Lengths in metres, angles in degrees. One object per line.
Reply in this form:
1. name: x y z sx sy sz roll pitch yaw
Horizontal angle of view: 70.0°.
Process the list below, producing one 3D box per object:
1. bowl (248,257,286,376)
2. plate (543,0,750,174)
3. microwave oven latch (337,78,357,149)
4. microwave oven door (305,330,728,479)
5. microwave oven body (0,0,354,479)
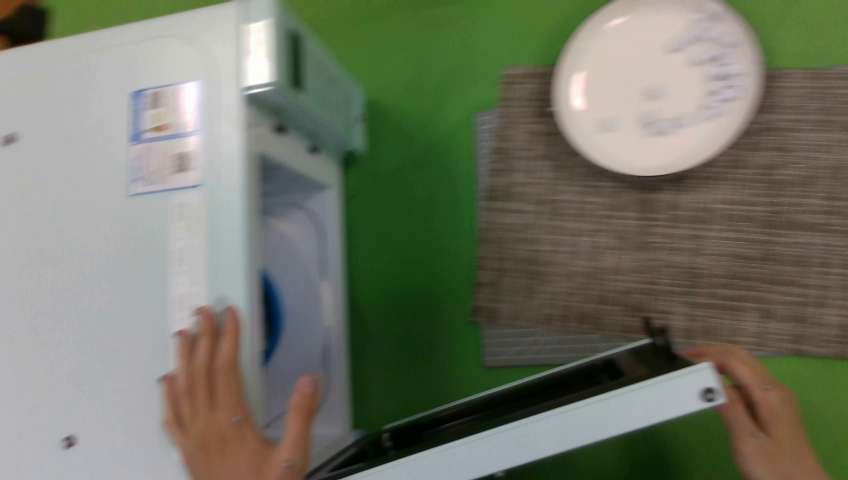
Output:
1. bowl: -0.210 0.086 0.661 0.151 0.077 0.151 -1 86 13
2. plate: 0.236 -0.171 0.659 0.208 0.038 0.208 -1 84 13
3. microwave oven latch: -0.098 -0.150 0.719 0.030 0.029 0.079 -7 85 12
4. microwave oven door: 0.069 0.165 0.555 0.355 0.245 0.039 -22 80 10
5. microwave oven body: -0.247 0.035 0.640 0.325 0.261 0.440 -7 85 12
